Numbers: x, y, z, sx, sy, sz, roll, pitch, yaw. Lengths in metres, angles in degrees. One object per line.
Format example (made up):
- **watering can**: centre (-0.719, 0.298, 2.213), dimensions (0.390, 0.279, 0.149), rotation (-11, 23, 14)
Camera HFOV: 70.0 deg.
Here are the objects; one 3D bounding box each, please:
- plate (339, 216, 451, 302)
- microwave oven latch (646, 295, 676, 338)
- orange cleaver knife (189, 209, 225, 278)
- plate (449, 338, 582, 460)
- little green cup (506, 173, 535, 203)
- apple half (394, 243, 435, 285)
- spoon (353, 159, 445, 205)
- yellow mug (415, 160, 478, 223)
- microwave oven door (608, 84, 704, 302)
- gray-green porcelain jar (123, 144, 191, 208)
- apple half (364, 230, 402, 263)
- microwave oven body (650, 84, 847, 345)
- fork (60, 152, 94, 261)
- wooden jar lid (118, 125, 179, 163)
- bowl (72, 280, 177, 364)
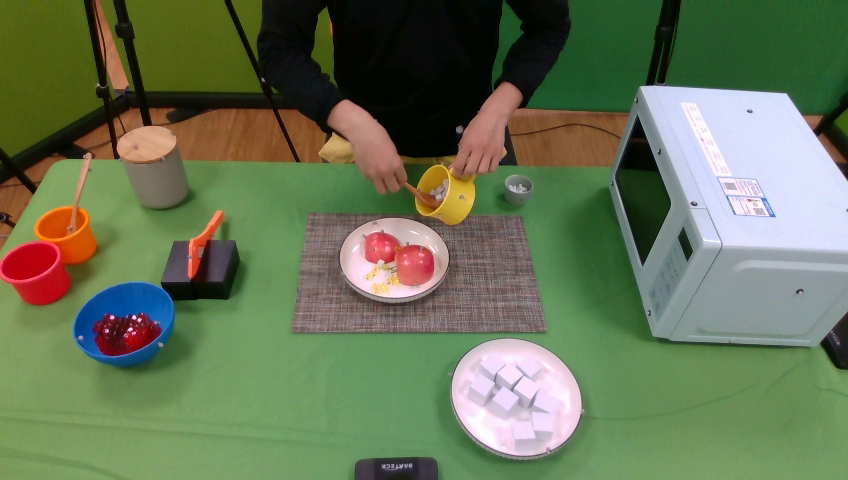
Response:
- **plate**: centre (-0.054, 0.038, 1.137), dimensions (0.209, 0.038, 0.208), rotation (2, 46, -2)
- **microwave oven latch**: centre (0.413, 0.133, 1.060), dimensions (0.030, 0.029, 0.078), rotation (4, 46, 1)
- **orange cleaver knife**: centre (-0.400, 0.002, 1.122), dimensions (0.012, 0.077, 0.210), rotation (4, 23, -4)
- **plate**: centre (0.141, 0.251, 0.956), dimensions (0.208, 0.039, 0.206), rotation (2, 47, -2)
- **little green cup**: centre (0.204, -0.111, 1.301), dimensions (0.061, 0.039, 0.061), rotation (3, 45, -2)
- **apple half**: centre (-0.016, 0.036, 1.121), dimensions (0.075, 0.053, 0.080), rotation (1, 45, -6)
- **spoon**: centre (-0.044, -0.108, 1.111), dimensions (0.194, 0.021, 0.041), rotation (27, 27, -25)
- **yellow mug**: centre (0.048, -0.098, 1.123), dimensions (0.064, 0.131, 0.099), rotation (19, 34, -38)
- **microwave oven door**: centre (0.424, -0.096, 1.138), dimensions (0.039, 0.245, 0.353), rotation (2, 47, -1)
- **gray-green porcelain jar**: centre (-0.530, -0.137, 1.213), dimensions (0.106, 0.127, 0.105), rotation (2, 46, -2)
- **apple half**: centre (-0.079, 0.004, 1.160), dimensions (0.081, 0.033, 0.081), rotation (2, 50, -3)
- **microwave oven body**: centre (0.569, -0.054, 1.115), dimensions (0.326, 0.261, 0.439), rotation (2, 46, -1)
- **fork**: centre (-0.638, -0.063, 1.119), dimensions (0.028, 0.018, 0.207), rotation (12, 90, 8)
- **wooden jar lid**: centre (-0.528, -0.181, 1.167), dimensions (0.108, 0.021, 0.107), rotation (4, 48, -4)
- **bowl**: centre (-0.472, 0.147, 0.982), dimensions (0.151, 0.077, 0.150), rotation (2, 46, -2)
